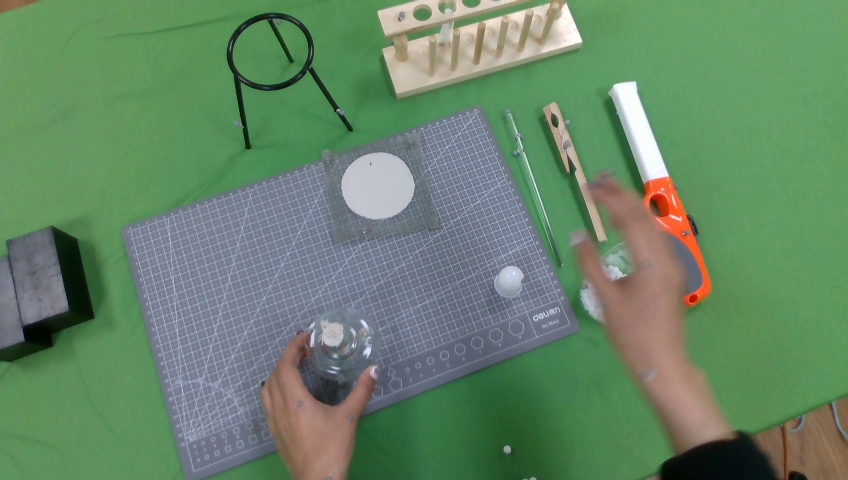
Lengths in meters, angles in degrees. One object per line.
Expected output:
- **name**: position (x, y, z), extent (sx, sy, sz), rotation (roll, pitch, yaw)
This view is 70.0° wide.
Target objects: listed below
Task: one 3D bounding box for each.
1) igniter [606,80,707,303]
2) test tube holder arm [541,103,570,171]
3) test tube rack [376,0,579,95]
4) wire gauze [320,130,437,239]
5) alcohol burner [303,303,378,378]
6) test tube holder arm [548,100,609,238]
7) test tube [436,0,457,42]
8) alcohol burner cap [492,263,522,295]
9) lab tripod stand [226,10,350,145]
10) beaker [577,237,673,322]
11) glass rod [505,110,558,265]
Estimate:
- **igniter**: position (0.270, -0.062, 0.707), extent (0.057, 0.025, 0.275), rotation (-10, 75, -14)
- **test tube holder arm**: position (0.162, -0.124, 0.730), extent (0.010, 0.015, 0.087), rotation (-26, 74, 29)
- **test tube rack**: position (0.070, -0.254, 0.730), extent (0.242, 0.085, 0.066), rotation (-16, 75, -4)
- **wire gauze**: position (-0.056, -0.065, 0.716), extent (0.125, 0.011, 0.121), rotation (-9, 76, -3)
- **alcohol burner**: position (-0.088, 0.100, 0.615), extent (0.078, 0.120, 0.077), rotation (-1, 74, 2)
- **test tube holder arm**: position (0.181, -0.085, 0.717), extent (0.013, 0.015, 0.177), rotation (-28, 73, 29)
- **test tube**: position (0.029, -0.271, 0.682), extent (0.017, 0.151, 0.017), rotation (2, 74, -5)
- **alcohol burner cap**: position (0.093, 0.041, 0.669), extent (0.034, 0.048, 0.033), rotation (0, 74, 0)
- **lab tripod stand**: position (-0.161, -0.177, 0.684), extent (0.148, 0.132, 0.147), rotation (0, 76, 0)
- **beaker**: position (0.204, 0.046, 0.641), extent (0.084, 0.101, 0.073), rotation (11, 74, 4)
- **glass rod**: position (0.127, -0.065, 0.717), extent (0.008, 0.008, 0.198), rotation (-15, 77, -4)
